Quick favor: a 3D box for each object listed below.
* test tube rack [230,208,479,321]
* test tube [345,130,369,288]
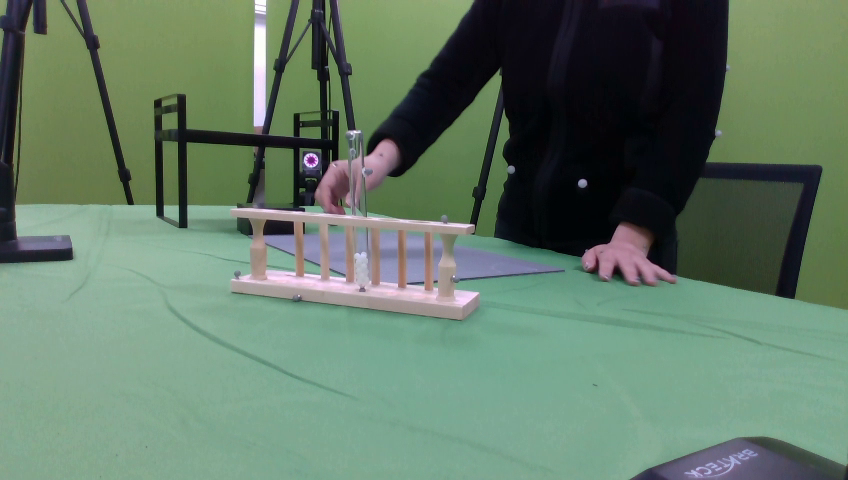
[{"bbox_3d":[-0.069,0.018,0.598,0.242,0.085,0.067,5,8,18],"label":"test tube rack"},{"bbox_3d":[-0.063,-0.028,0.571,0.017,0.150,0.017,-2,10,1],"label":"test tube"}]
